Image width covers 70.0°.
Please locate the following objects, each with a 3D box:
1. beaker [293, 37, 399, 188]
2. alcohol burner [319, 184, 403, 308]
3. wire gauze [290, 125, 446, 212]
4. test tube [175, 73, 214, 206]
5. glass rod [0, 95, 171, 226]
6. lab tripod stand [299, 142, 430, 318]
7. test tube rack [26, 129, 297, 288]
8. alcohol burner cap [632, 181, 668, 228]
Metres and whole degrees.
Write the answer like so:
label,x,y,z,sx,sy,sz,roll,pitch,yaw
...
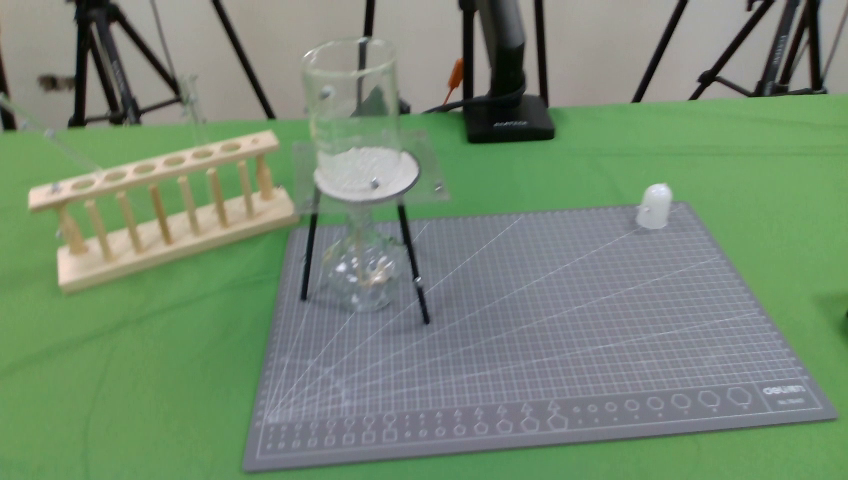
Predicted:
label,x,y,z,sx,sy,sz,roll,pitch,yaw
beaker,-0.059,-0.099,0.478,0.083,0.101,0.074,16,41,23
alcohol burner,-0.059,0.003,0.551,0.078,0.120,0.077,-2,36,1
wire gauze,-0.052,-0.061,0.509,0.125,0.011,0.120,-9,36,-5
test tube,-0.237,-0.101,0.640,0.017,0.151,0.017,0,35,1
glass rod,-0.326,-0.071,0.593,0.008,0.202,0.008,-19,47,22
lab tripod stand,-0.050,-0.010,0.550,0.148,0.133,0.147,-2,40,2
test tube rack,-0.267,-0.038,0.640,0.243,0.086,0.066,-19,41,-21
alcohol burner cap,0.245,-0.041,0.652,0.034,0.048,0.033,-1,38,1
